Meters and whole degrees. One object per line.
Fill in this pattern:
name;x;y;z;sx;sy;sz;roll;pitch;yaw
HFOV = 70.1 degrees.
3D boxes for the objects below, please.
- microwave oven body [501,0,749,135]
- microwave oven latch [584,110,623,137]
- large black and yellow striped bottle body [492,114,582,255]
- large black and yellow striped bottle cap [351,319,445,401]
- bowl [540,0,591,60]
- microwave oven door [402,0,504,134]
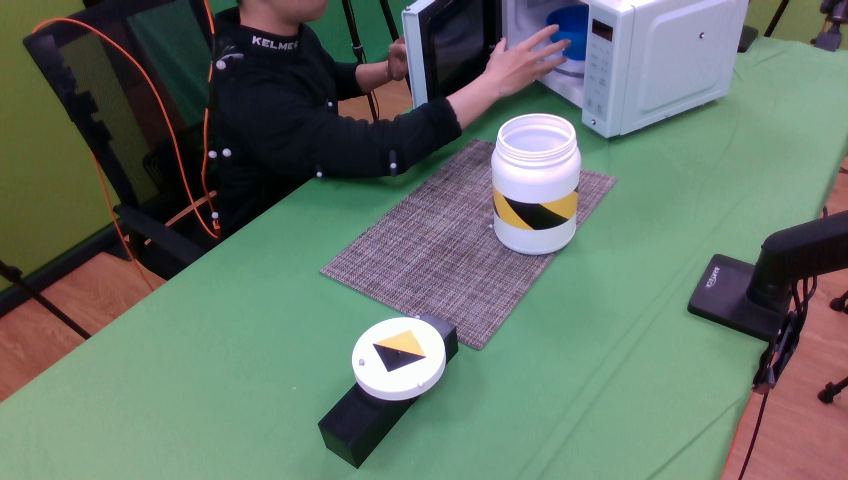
microwave oven body;0.382;-0.444;1.246;0.327;0.261;0.437;-22;42;-16
microwave oven latch;0.337;-0.222;1.142;0.030;0.029;0.078;-21;42;-14
large black and yellow striped bottle body;0.169;-0.083;0.912;0.131;0.185;0.130;-4;41;4
large black and yellow striped bottle cap;-0.031;0.143;0.735;0.115;0.019;0.114;-3;40;3
bowl;0.328;-0.436;1.279;0.151;0.077;0.150;-13;40;12
microwave oven door;0.073;-0.411;1.243;0.039;0.245;0.356;17;46;26
